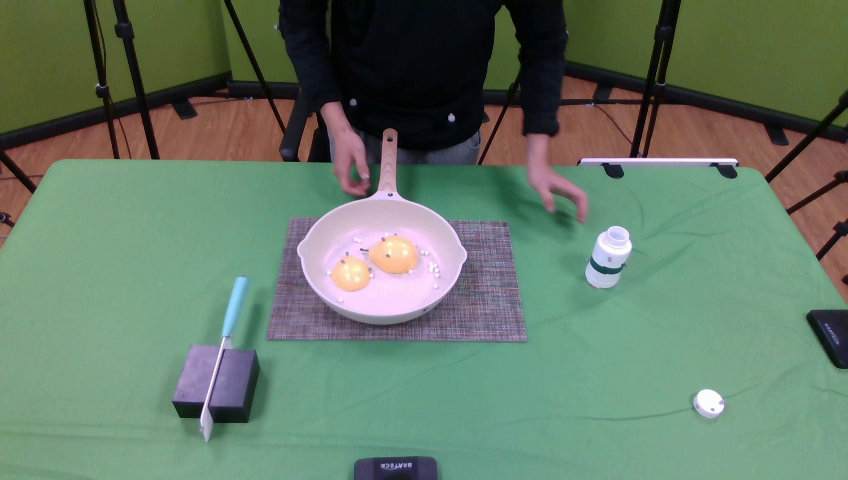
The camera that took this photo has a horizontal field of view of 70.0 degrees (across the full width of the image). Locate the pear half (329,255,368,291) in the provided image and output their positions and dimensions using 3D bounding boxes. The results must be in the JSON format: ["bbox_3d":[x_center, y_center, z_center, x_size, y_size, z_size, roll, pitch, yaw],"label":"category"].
[{"bbox_3d":[-0.140,0.053,1.122,0.070,0.031,0.087,-7,50,-16],"label":"pear half"}]

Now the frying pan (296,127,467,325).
[{"bbox_3d":[-0.076,-0.045,1.172,0.307,0.103,0.485,3,55,-2],"label":"frying pan"}]

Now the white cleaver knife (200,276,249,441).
[{"bbox_3d":[-0.321,0.177,0.971,0.021,0.066,0.284,7,48,-5],"label":"white cleaver knife"}]

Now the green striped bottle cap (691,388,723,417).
[{"bbox_3d":[0.460,0.263,0.984,0.044,0.020,0.044,3,46,-3],"label":"green striped bottle cap"}]

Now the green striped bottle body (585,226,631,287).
[{"bbox_3d":[0.345,0.028,1.129,0.063,0.120,0.063,2,46,-2],"label":"green striped bottle body"}]

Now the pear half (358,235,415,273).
[{"bbox_3d":[-0.074,0.017,1.146,0.110,0.056,0.076,8,41,6],"label":"pear half"}]
